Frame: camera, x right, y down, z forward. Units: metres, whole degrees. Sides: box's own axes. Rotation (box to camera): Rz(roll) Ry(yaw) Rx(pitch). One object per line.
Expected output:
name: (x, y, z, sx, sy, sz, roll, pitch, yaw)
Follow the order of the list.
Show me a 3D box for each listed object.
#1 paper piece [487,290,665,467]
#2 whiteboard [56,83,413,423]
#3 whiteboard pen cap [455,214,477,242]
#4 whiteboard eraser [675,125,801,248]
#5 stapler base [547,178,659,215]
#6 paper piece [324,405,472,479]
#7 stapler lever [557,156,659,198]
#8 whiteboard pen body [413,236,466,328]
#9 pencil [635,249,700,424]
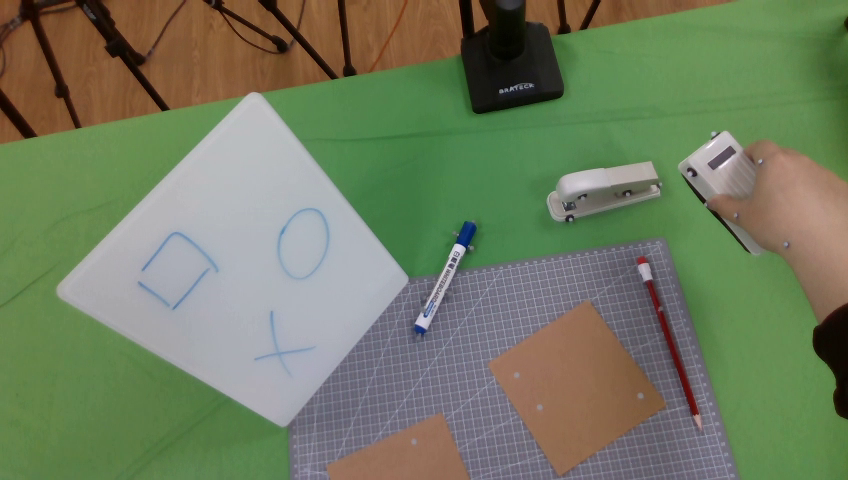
paper piece: (0.158, 0.144, 0.645, 0.136, 0.009, 0.137, -32, 69, -3)
whiteboard: (-0.185, 0.010, 0.617, 0.142, 0.309, 0.217, 31, 74, 40)
whiteboard pen cap: (0.049, -0.013, 0.717, 0.018, 0.018, 0.033, 20, 71, 15)
whiteboard eraser: (0.295, -0.050, 0.574, 0.055, 0.042, 0.112, -38, 83, -5)
stapler base: (0.213, -0.065, 0.717, 0.130, 0.024, 0.041, -14, 70, -1)
paper piece: (-0.019, 0.258, 0.621, 0.135, 0.004, 0.134, -23, 68, -4)
stapler lever: (0.211, -0.075, 0.695, 0.118, 0.040, 0.026, -15, 69, 0)
whiteboard pen body: (0.023, 0.037, 0.701, 0.017, 0.017, 0.140, 23, 72, 16)
pencil: (0.261, 0.099, 0.649, 0.012, 0.012, 0.192, -13, 69, 2)
